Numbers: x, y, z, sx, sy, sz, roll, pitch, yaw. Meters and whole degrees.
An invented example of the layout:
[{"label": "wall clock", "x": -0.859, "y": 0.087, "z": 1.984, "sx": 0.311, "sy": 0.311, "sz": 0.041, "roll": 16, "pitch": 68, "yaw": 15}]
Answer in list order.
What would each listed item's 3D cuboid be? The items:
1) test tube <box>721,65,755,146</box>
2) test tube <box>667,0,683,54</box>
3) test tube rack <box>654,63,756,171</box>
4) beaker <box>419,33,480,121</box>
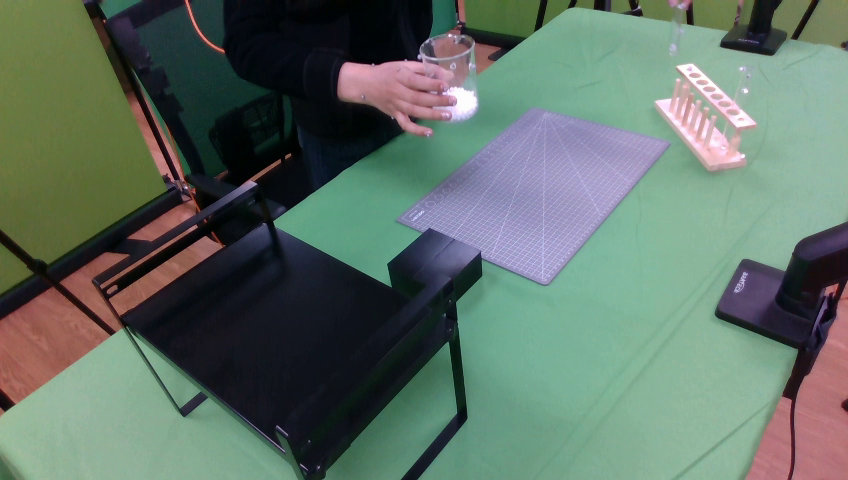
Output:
[{"label": "test tube", "x": 0.534, "y": -0.226, "z": 1.032, "sx": 0.017, "sy": 0.151, "sz": 0.017, "roll": -2, "pitch": 40, "yaw": 2}, {"label": "test tube", "x": 0.435, "y": -0.391, "z": 1.041, "sx": 0.017, "sy": 0.017, "sz": 0.150, "roll": 8, "pitch": 80, "yaw": 17}, {"label": "test tube rack", "x": 0.511, "y": -0.233, "z": 1.120, "sx": 0.067, "sy": 0.085, "sz": 0.241, "roll": -8, "pitch": 41, "yaw": -1}, {"label": "beaker", "x": 0.039, "y": -0.224, "z": 0.833, "sx": 0.073, "sy": 0.101, "sz": 0.084, "roll": 7, "pitch": 45, "yaw": 19}]
